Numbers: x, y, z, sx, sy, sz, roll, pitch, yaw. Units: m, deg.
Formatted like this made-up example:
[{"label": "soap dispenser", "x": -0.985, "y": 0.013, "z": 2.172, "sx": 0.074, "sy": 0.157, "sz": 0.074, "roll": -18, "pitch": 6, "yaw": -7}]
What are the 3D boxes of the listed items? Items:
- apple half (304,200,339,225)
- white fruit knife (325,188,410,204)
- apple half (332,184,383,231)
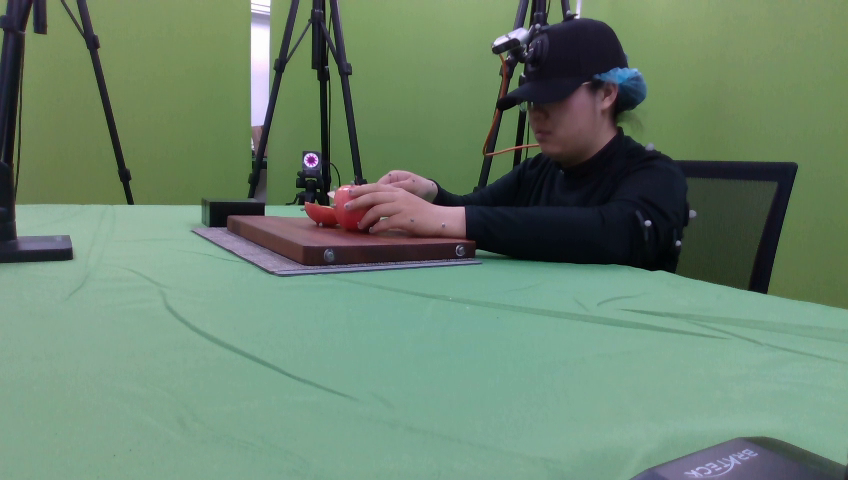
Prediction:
[{"label": "apple half", "x": -0.163, "y": -0.040, "z": 1.000, "sx": 0.081, "sy": 0.033, "sz": 0.081, "roll": 15, "pitch": -2, "yaw": 1}, {"label": "white fruit knife", "x": -0.091, "y": -0.076, "z": 1.028, "sx": 0.016, "sy": 0.027, "sz": 0.208, "roll": 2, "pitch": 3, "yaw": 36}, {"label": "apple half", "x": -0.097, "y": -0.050, "z": 0.949, "sx": 0.081, "sy": 0.074, "sz": 0.053, "roll": 0, "pitch": 10, "yaw": -42}]
